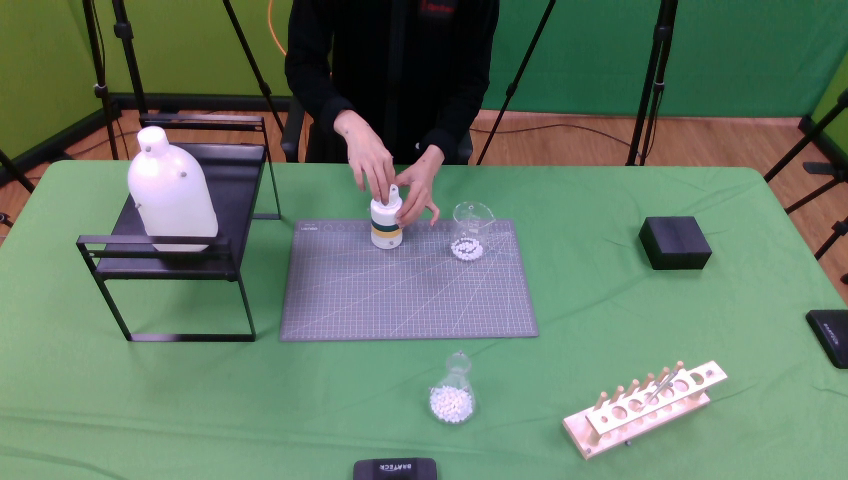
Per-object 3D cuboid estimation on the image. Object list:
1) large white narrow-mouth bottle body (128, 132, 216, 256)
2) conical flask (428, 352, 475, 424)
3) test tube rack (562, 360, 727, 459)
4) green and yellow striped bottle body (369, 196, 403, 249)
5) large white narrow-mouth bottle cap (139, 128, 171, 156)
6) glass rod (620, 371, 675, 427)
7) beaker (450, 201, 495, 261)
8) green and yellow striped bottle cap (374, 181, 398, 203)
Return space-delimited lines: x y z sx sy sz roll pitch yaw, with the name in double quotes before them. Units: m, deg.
"large white narrow-mouth bottle body" -0.366 -0.073 0.872 0.102 0.195 0.101 3 47 -3
"conical flask" 0.046 0.220 0.920 0.075 0.122 0.075 2 46 -2
"test tube rack" 0.341 0.247 0.940 0.243 0.085 0.066 -16 49 -18
"green and yellow striped bottle body" -0.073 -0.045 1.163 0.063 0.120 0.063 2 46 -2
"large white narrow-mouth bottle cap" -0.358 -0.131 0.808 0.038 0.024 0.037 3 47 -3
"glass rod" 0.316 0.230 0.863 0.008 0.200 0.008 3 54 -3
"beaker" 0.089 -0.014 1.161 0.084 0.101 0.073 9 47 4
"green and yellow striped bottle cap" -0.071 -0.089 1.121 0.045 0.020 0.045 -1 40 1
